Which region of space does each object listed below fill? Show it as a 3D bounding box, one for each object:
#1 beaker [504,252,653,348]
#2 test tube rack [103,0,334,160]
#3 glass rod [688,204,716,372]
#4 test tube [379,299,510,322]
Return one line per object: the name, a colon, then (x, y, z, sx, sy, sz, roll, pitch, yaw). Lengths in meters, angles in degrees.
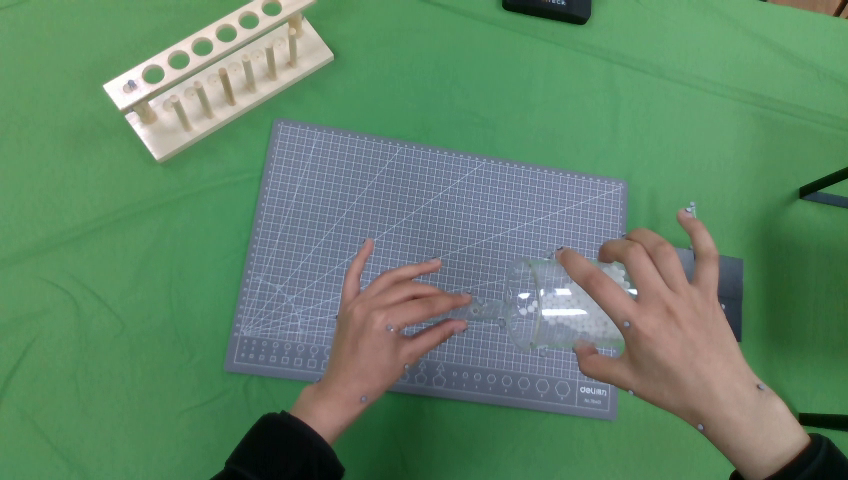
beaker: (0.122, 0.050, 0.489, 0.100, 0.084, 0.073, 2, 76, -13)
test tube rack: (-0.220, -0.194, 0.686, 0.242, 0.085, 0.066, -36, 84, -15)
glass rod: (0.326, 0.054, 0.712, 0.008, 0.008, 0.199, 0, 78, -9)
test tube: (0.014, 0.066, 0.562, 0.017, 0.149, 0.017, 12, 74, -48)
